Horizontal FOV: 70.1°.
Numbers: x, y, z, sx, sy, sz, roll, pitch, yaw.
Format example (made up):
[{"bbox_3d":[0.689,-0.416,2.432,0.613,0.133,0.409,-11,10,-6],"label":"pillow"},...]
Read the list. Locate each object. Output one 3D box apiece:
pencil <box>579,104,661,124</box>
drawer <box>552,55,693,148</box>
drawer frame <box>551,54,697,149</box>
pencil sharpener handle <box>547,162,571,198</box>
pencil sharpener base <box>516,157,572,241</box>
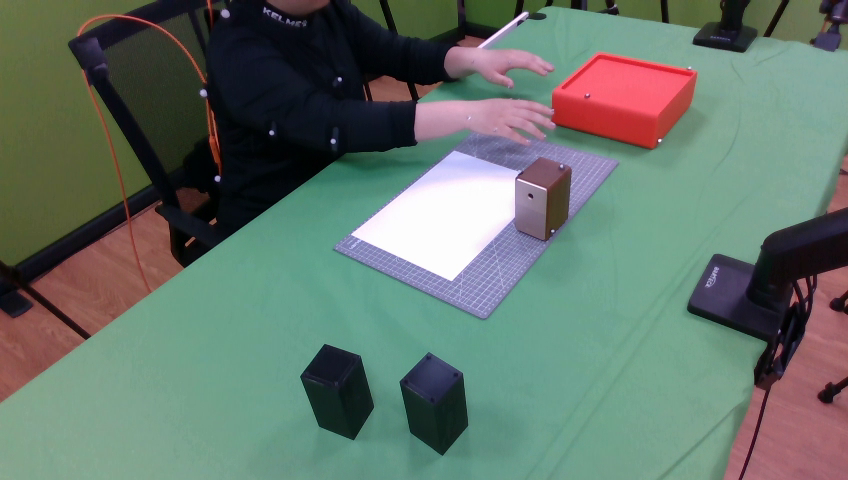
[{"bbox_3d":[0.395,-0.255,1.212,0.195,0.012,0.012,-14,40,-17],"label":"pencil"},{"bbox_3d":[0.389,-0.278,1.196,0.210,0.073,0.195,24,49,30],"label":"drawer"},{"bbox_3d":[0.391,-0.280,1.194,0.212,0.083,0.202,23,48,30],"label":"drawer frame"},{"bbox_3d":[0.221,-0.101,0.968,0.035,0.068,0.031,19,46,37],"label":"pencil sharpener handle"},{"bbox_3d":[0.189,-0.065,0.948,0.061,0.107,0.077,24,49,33],"label":"pencil sharpener base"}]
